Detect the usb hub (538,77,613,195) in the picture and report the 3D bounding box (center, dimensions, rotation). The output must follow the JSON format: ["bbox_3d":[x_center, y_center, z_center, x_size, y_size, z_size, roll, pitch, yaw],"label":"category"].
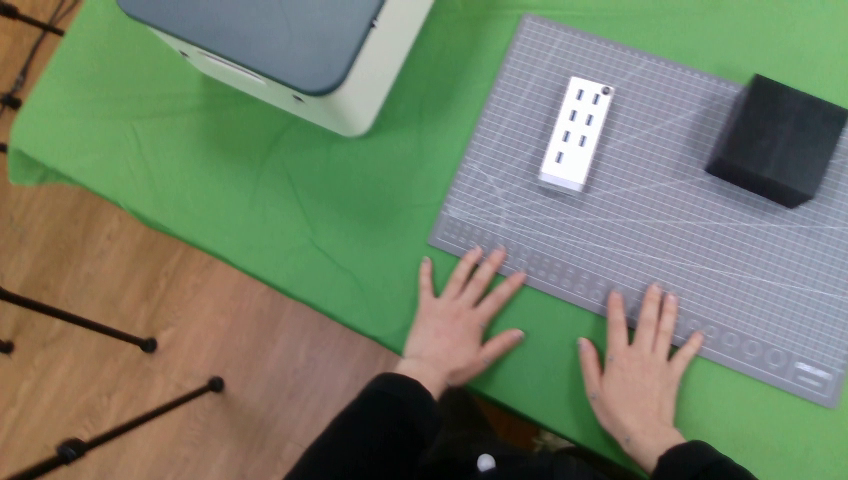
[{"bbox_3d":[0.169,-0.116,0.674,0.049,0.025,0.125,18,83,9],"label":"usb hub"}]

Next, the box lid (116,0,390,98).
[{"bbox_3d":[-0.122,-0.339,0.603,0.262,0.015,0.371,25,84,10],"label":"box lid"}]

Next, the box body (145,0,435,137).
[{"bbox_3d":[-0.113,-0.327,0.675,0.253,0.161,0.363,25,84,10],"label":"box body"}]
